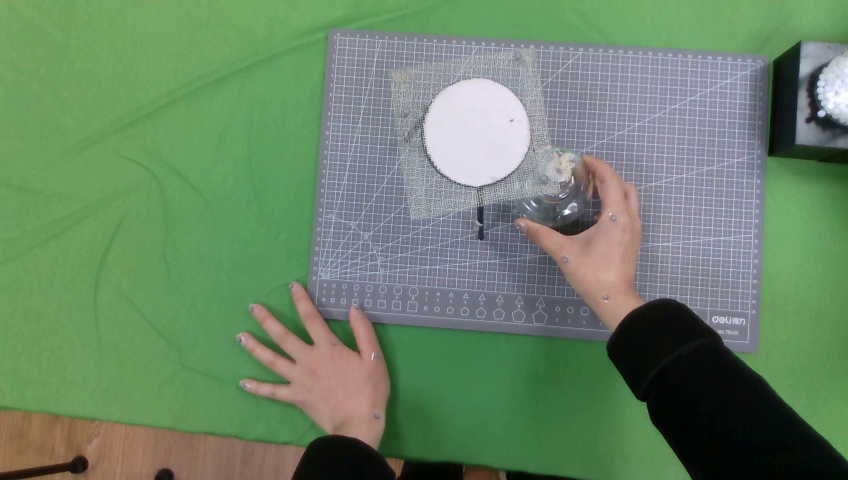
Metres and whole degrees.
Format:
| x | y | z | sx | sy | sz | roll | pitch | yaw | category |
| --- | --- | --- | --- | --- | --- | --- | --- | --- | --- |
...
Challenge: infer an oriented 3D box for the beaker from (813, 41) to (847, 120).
| x | y | z | sx | sy | sz | roll | pitch | yaw | category |
| --- | --- | --- | --- | --- | --- | --- | --- | --- | --- |
| 0.392 | -0.150 | 0.514 | 0.074 | 0.100 | 0.084 | 15 | 86 | 3 | beaker |

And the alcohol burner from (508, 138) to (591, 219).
| x | y | z | sx | sy | sz | roll | pitch | yaw | category |
| --- | --- | --- | --- | --- | --- | --- | --- | --- | --- |
| 0.117 | -0.060 | 0.556 | 0.078 | 0.119 | 0.077 | -1 | 82 | 5 | alcohol burner |

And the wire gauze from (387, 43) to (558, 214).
| x | y | z | sx | sy | sz | roll | pitch | yaw | category |
| --- | --- | --- | --- | --- | --- | --- | --- | --- | --- |
| 0.038 | -0.091 | 0.483 | 0.121 | 0.011 | 0.125 | -9 | 88 | 0 | wire gauze |

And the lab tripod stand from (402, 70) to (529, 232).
| x | y | z | sx | sy | sz | roll | pitch | yaw | category |
| --- | --- | --- | --- | --- | --- | --- | --- | --- | --- |
| 0.044 | -0.085 | 0.550 | 0.148 | 0.131 | 0.148 | 0 | 87 | 0 | lab tripod stand |
